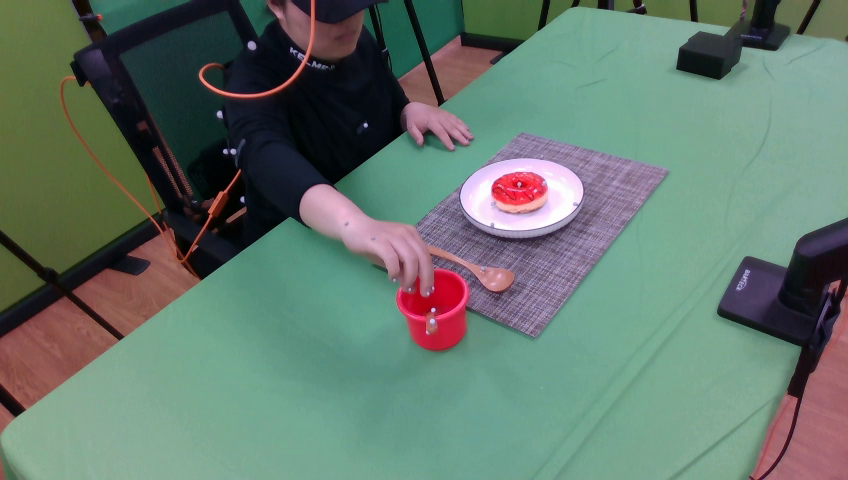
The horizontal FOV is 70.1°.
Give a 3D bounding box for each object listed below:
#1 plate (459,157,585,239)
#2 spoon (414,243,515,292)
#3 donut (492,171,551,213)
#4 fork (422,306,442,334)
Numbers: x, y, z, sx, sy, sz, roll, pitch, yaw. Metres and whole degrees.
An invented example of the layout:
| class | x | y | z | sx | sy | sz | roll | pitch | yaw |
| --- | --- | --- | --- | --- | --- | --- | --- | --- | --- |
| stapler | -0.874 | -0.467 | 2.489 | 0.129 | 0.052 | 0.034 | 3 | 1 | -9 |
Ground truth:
| class | x | y | z | sx | sy | sz | roll | pitch | yaw |
| --- | --- | --- | --- | --- | --- | --- | --- | --- | --- |
| plate | 0.163 | -0.068 | 1.015 | 0.209 | 0.038 | 0.208 | -5 | 40 | 5 |
| spoon | 0.057 | 0.035 | 0.924 | 0.192 | 0.022 | 0.041 | 25 | 68 | 34 |
| donut | 0.163 | -0.083 | 1.015 | 0.099 | 0.048 | 0.098 | -6 | 37 | 5 |
| fork | 0.010 | 0.099 | 0.766 | 0.028 | 0.018 | 0.207 | -9 | -3 | 0 |
